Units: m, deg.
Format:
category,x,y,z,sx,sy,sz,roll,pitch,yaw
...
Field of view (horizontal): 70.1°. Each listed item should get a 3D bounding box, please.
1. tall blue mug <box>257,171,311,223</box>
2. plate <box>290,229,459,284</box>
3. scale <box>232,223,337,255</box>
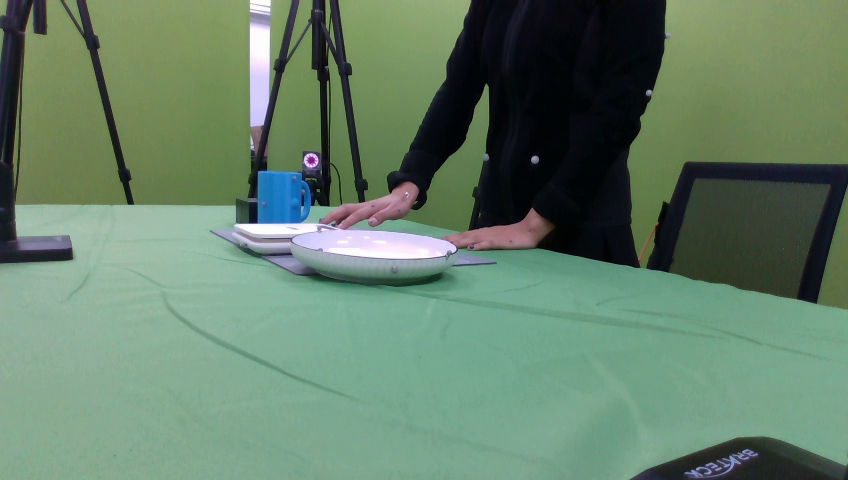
category,x,y,z,sx,sy,sz,roll,pitch,yaw
tall blue mug,-0.259,-0.070,1.107,0.078,0.108,0.107,2,7,5
plate,-0.062,0.020,0.753,0.209,0.038,0.209,3,9,0
scale,-0.178,-0.004,0.920,0.202,0.031,0.148,-1,8,-30
